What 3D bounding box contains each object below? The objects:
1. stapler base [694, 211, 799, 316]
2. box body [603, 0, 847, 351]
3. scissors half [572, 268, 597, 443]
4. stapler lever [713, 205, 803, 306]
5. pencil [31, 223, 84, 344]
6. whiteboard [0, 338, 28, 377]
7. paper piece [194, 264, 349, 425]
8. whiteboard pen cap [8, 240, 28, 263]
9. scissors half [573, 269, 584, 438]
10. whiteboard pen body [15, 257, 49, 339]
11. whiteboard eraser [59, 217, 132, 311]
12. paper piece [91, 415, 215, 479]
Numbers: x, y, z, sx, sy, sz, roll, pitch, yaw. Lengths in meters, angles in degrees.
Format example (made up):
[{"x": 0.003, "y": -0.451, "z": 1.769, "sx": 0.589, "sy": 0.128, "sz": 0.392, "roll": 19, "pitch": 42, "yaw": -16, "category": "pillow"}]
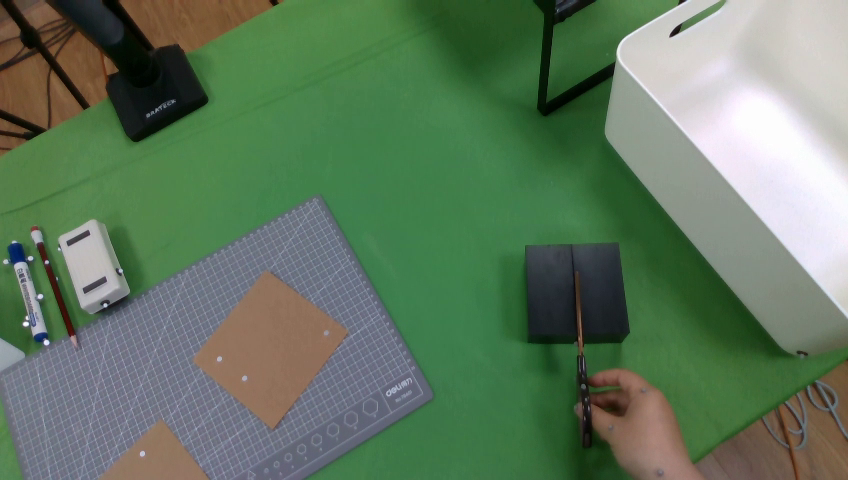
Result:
[{"x": 0.356, "y": 0.021, "z": 0.667, "sx": 0.041, "sy": 0.024, "sz": 0.129, "roll": -34, "pitch": 72, "yaw": -3, "category": "stapler base"}, {"x": 0.392, "y": -0.094, "z": 0.636, "sx": 0.254, "sy": 0.161, "sz": 0.361, "roll": -31, "pitch": 68, "yaw": -5, "category": "box body"}, {"x": 0.160, "y": 0.113, "z": 0.611, "sx": 0.013, "sy": 0.040, "sz": 0.174, "roll": -4, "pitch": 71, "yaw": 5, "category": "scissors half"}, {"x": 0.355, "y": 0.013, "z": 0.642, "sx": 0.027, "sy": 0.040, "sz": 0.117, "roll": -34, "pitch": 73, "yaw": -3, "category": "stapler lever"}, {"x": -0.465, "y": 0.053, "z": 0.770, "sx": 0.012, "sy": 0.012, "sz": 0.192, "roll": -33, "pitch": 69, "yaw": -6, "category": "pencil"}, {"x": -0.647, "y": 0.065, "z": 0.663, "sx": 0.217, "sy": 0.309, "sz": 0.142, "roll": -30, "pitch": 49, "yaw": -4, "category": "whiteboard"}, {"x": -0.180, "y": 0.119, "z": 0.708, "sx": 0.137, "sy": 0.009, "sz": 0.136, "roll": 34, "pitch": 81, "yaw": 16, "category": "paper piece"}, {"x": -0.527, "y": 0.017, "z": 0.788, "sx": 0.018, "sy": 0.018, "sz": 0.033, "roll": -32, "pitch": 67, "yaw": -5, "category": "whiteboard pen cap"}, {"x": 0.161, "y": 0.117, "z": 0.631, "sx": 0.013, "sy": 0.040, "sz": 0.175, "roll": -2, "pitch": 88, "yaw": 0, "category": "scissors half"}, {"x": -0.500, "y": 0.064, "z": 0.767, "sx": 0.017, "sy": 0.017, "sz": 0.139, "roll": -30, "pitch": 68, "yaw": -4, "category": "whiteboard pen body"}, {"x": -0.408, "y": 0.030, "z": 0.756, "sx": 0.055, "sy": 0.042, "sz": 0.112, "roll": -31, "pitch": 69, "yaw": -4, "category": "whiteboard eraser"}, {"x": -0.300, "y": 0.286, "z": 0.659, "sx": 0.135, "sy": 0.004, "sz": 0.135, "roll": 42, "pitch": 79, "yaw": 19, "category": "paper piece"}]
